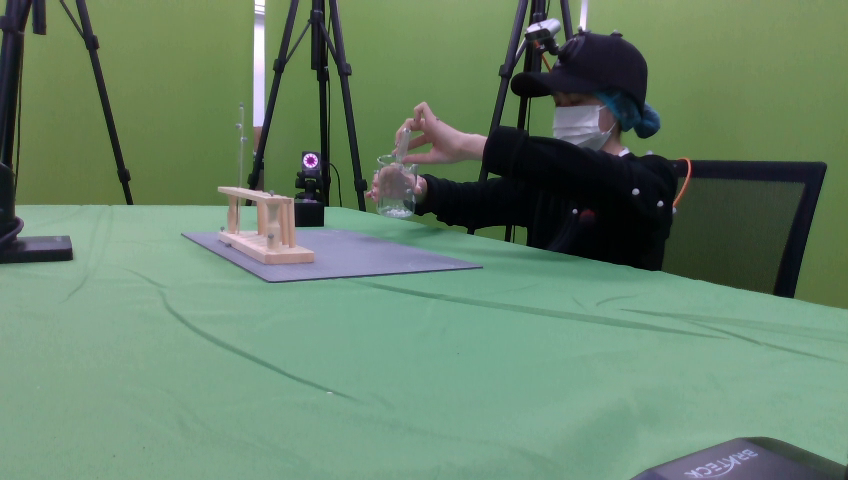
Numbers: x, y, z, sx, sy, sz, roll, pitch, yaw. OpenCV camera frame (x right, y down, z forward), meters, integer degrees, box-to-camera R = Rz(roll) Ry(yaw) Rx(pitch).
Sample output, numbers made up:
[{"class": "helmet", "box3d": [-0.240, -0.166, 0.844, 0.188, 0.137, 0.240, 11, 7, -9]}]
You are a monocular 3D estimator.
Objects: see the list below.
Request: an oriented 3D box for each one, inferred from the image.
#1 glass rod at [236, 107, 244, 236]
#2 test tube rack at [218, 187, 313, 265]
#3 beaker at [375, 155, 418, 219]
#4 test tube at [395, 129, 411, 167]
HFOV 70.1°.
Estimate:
[{"class": "glass rod", "box3d": [-0.282, -0.103, 0.924, 0.008, 0.199, 0.008, 2, 2, 0]}, {"class": "test tube rack", "box3d": [-0.235, -0.027, 0.872, 0.067, 0.085, 0.241, -2, 8, -32]}, {"class": "beaker", "box3d": [-0.048, -0.093, 1.067, 0.074, 0.100, 0.083, -7, 25, -25]}, {"class": "test tube", "box3d": [-0.035, -0.147, 0.971, 0.017, 0.017, 0.150, 2, -11, -6]}]
